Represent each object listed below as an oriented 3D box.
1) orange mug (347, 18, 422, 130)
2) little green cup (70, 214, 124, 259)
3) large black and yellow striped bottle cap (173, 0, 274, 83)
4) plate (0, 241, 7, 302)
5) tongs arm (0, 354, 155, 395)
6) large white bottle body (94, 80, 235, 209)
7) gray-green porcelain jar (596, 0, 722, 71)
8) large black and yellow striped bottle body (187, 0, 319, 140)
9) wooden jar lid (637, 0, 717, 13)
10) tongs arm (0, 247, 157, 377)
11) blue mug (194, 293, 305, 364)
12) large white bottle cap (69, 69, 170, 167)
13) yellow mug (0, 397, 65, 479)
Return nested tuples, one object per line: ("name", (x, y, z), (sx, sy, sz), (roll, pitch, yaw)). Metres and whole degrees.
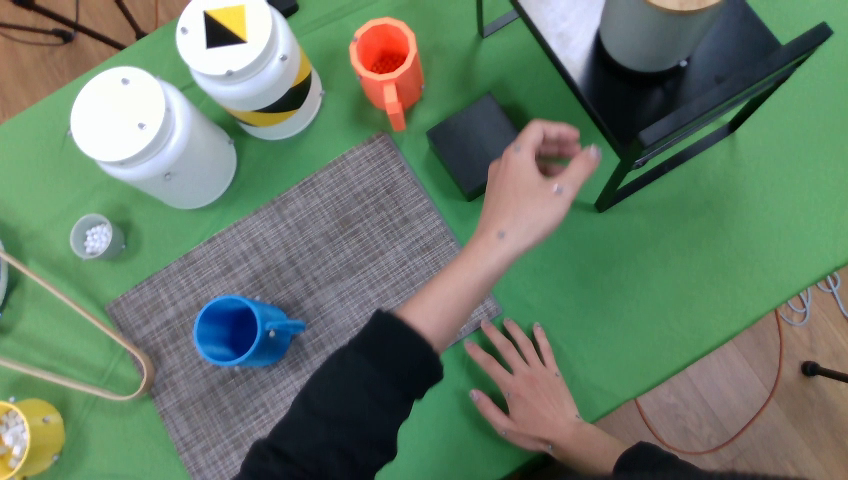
("orange mug", (-0.048, -0.215, 0.808), (0.083, 0.101, 0.125), (-10, 74, 4))
("little green cup", (-0.450, -0.002, 0.838), (0.061, 0.039, 0.061), (-1, 80, 5))
("large black and yellow striped bottle cap", (-0.232, -0.238, 0.701), (0.115, 0.019, 0.114), (-1, 79, 5))
("plate", (-0.678, 0.057, 0.850), (0.207, 0.039, 0.206), (-1, 79, 5))
("tongs arm", (-0.549, 0.139, 0.801), (0.385, 0.026, 0.050), (19, 78, 2))
("large white bottle body", (-0.339, -0.124, 0.775), (0.130, 0.185, 0.130), (-1, 78, 6))
("gray-green porcelain jar", (0.226, -0.232, 0.585), (0.106, 0.127, 0.105), (-1, 79, 6))
("large black and yellow striped bottle body", (-0.222, -0.220, 0.783), (0.130, 0.185, 0.130), (-1, 78, 6))
("wooden jar lid", (0.218, -0.245, 0.525), (0.108, 0.021, 0.108), (-1, 81, 6))
("tongs arm", (-0.513, 0.064, 0.816), (0.387, 0.028, 0.028), (33, 75, 4))
("blue mug", (-0.207, 0.111, 0.754), (0.116, 0.106, 0.082), (-7, 78, 4))
("large white bottle cap", (-0.348, -0.140, 0.693), (0.115, 0.018, 0.114), (-1, 80, 6))
("yellow mug", (-0.535, 0.271, 0.780), (0.100, 0.064, 0.130), (5, 81, 6))
